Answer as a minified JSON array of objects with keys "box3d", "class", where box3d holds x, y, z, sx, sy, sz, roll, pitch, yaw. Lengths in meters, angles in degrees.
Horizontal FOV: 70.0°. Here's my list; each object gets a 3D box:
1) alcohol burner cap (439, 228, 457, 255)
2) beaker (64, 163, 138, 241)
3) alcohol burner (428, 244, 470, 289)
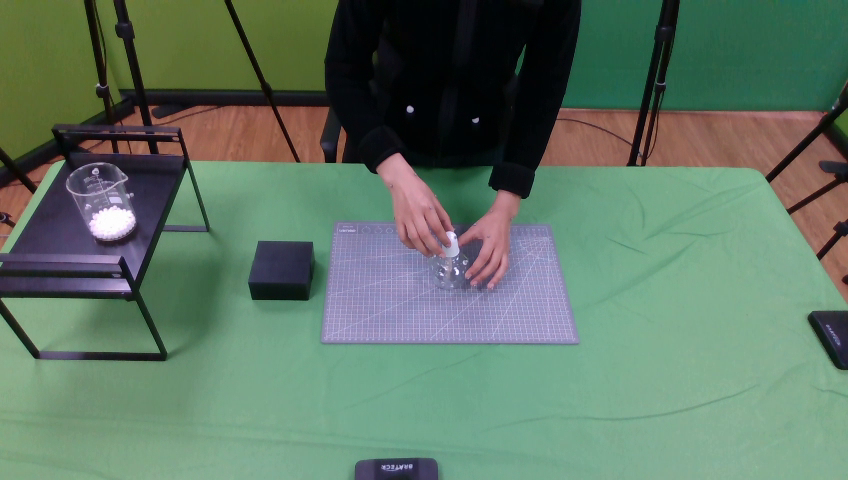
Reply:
[{"box3d":[0.045,-0.001,1.073,0.034,0.048,0.033,3,46,-3],"class":"alcohol burner cap"},{"box3d":[-0.477,-0.055,0.910,0.084,0.101,0.073,-9,48,-13],"class":"beaker"},{"box3d":[0.045,0.032,1.099,0.078,0.120,0.077,0,45,0],"class":"alcohol burner"}]
